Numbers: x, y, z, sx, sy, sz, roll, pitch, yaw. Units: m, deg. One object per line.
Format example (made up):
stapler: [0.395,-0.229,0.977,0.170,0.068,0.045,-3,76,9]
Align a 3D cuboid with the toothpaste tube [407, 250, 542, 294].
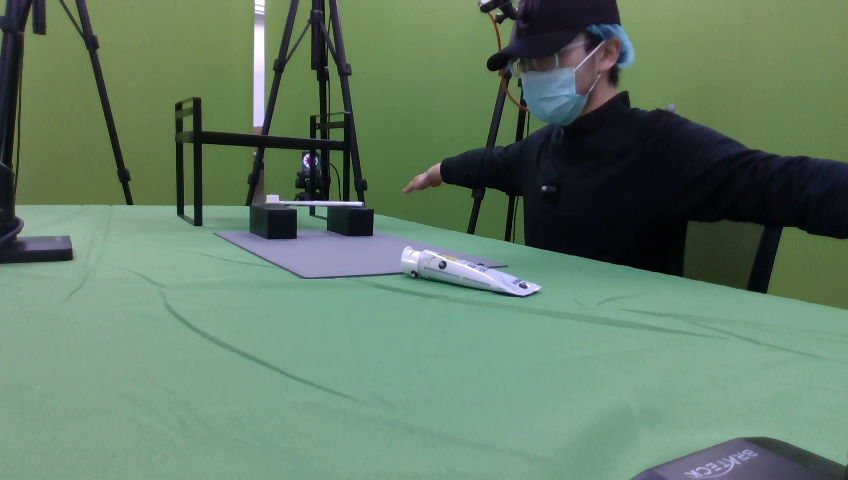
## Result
toothpaste tube: [0.049,0.039,0.699,0.164,0.034,0.055,11,17,30]

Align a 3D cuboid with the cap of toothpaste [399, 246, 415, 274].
cap of toothpaste: [-0.018,0.025,0.741,0.011,0.037,0.037,5,8,24]

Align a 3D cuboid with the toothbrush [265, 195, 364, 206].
toothbrush: [-0.194,-0.069,1.090,0.183,0.016,0.014,0,-8,-27]
